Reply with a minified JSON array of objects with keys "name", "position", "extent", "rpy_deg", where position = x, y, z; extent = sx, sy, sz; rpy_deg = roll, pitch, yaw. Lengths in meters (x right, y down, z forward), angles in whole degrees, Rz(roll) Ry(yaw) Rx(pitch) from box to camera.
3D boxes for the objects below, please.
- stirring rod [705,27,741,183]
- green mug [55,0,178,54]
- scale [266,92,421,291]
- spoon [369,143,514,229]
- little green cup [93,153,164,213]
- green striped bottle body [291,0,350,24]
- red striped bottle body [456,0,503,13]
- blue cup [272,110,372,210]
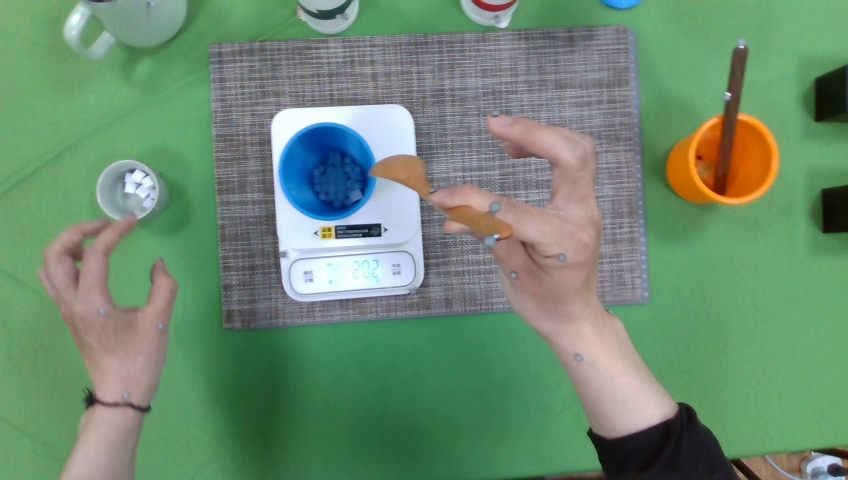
[{"name":"stirring rod","position":[0.294,-0.126,0.599],"extent":[0.014,0.005,0.178],"rpy_deg":[-18,133,-1]},{"name":"green mug","position":[-0.308,-0.238,0.587],"extent":[0.092,0.105,0.125],"rpy_deg":[31,89,-2]},{"name":"scale","position":[-0.083,-0.050,0.631],"extent":[0.149,0.031,0.201],"rpy_deg":[-5,91,-2]},{"name":"spoon","position":[0.008,-0.037,0.380],"extent":[0.042,0.192,0.022],"rpy_deg":[-16,116,-18]},{"name":"little green cup","position":[-0.299,-0.056,0.621],"extent":[0.061,0.038,0.061],"rpy_deg":[0,90,-4]},{"name":"green striped bottle body","position":[-0.108,-0.261,0.588],"extent":[0.063,0.119,0.063],"rpy_deg":[0,90,-2]},{"name":"red striped bottle body","position":[0.062,-0.275,0.596],"extent":[0.063,0.119,0.063],"rpy_deg":[0,90,-3]},{"name":"blue cup","position":[-0.088,-0.069,0.565],"extent":[0.093,0.100,0.092],"rpy_deg":[0,92,-2]}]
